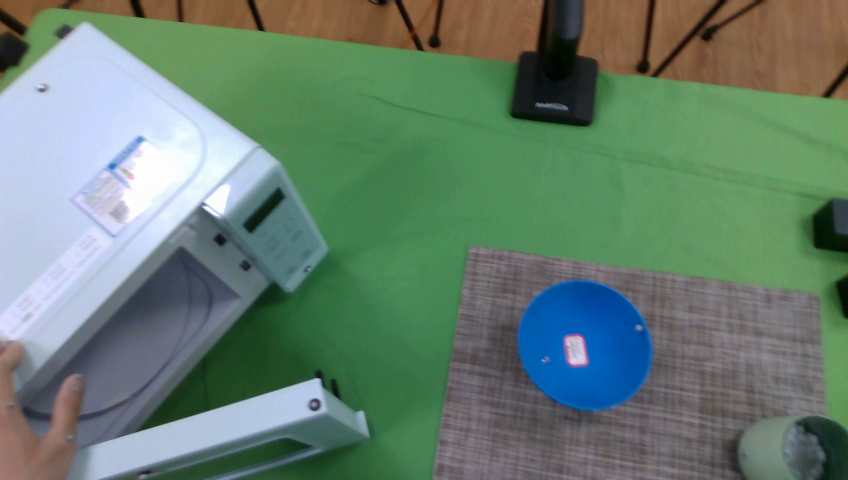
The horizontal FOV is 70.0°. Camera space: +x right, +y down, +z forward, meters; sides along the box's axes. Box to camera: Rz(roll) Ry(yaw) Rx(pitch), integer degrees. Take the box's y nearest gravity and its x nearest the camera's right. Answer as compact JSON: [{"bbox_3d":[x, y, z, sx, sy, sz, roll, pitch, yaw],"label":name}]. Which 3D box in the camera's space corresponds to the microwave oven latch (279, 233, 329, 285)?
[{"bbox_3d":[-0.159,0.019,0.792,0.030,0.030,0.079,38,76,16],"label":"microwave oven latch"}]

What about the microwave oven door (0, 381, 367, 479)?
[{"bbox_3d":[-0.248,0.218,0.607,0.356,0.245,0.039,-17,69,-4],"label":"microwave oven door"}]

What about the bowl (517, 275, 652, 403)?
[{"bbox_3d":[0.184,0.124,0.724,0.151,0.077,0.150,-1,68,3],"label":"bowl"}]

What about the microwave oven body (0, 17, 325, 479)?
[{"bbox_3d":[-0.391,0.032,0.696,0.324,0.262,0.441,36,75,15],"label":"microwave oven body"}]

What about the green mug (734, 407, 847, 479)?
[{"bbox_3d":[0.402,0.242,0.650,0.092,0.105,0.124,-8,68,0],"label":"green mug"}]
